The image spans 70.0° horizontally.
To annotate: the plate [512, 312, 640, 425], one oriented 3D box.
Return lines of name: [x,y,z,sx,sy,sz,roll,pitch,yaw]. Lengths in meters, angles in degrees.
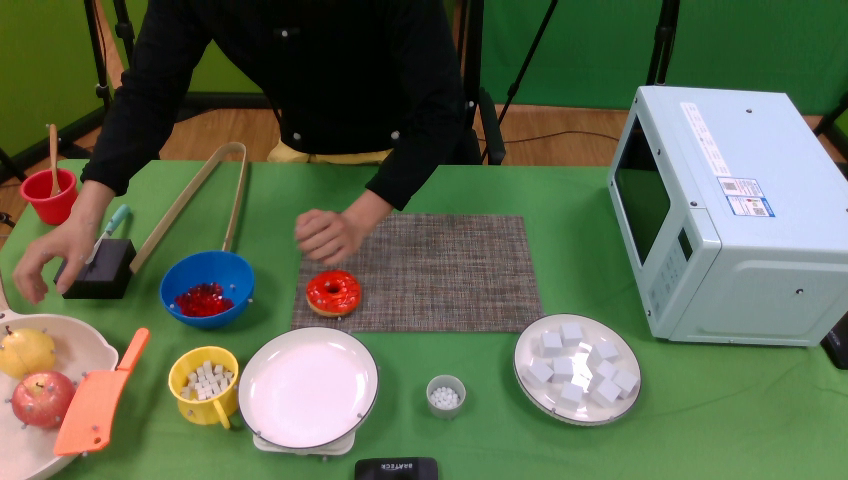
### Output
plate: [0.246,0.213,0.999,0.208,0.039,0.206,2,46,-2]

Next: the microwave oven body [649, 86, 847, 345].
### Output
microwave oven body: [0.567,-0.053,1.118,0.326,0.261,0.439,2,45,-1]

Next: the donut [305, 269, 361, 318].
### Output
donut: [-0.160,0.095,1.075,0.099,0.048,0.098,4,45,-3]

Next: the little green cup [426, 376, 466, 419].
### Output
little green cup: [0.033,0.248,0.950,0.061,0.039,0.061,2,46,-2]

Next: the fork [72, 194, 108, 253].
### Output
fork: [-0.634,-0.035,1.158,0.028,0.019,0.206,-8,31,-8]

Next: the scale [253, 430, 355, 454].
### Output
scale: [-0.175,0.236,0.951,0.149,0.032,0.199,4,45,0]

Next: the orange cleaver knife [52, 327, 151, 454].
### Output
orange cleaver knife: [-0.462,0.212,0.879,0.077,0.012,0.210,6,45,-1]

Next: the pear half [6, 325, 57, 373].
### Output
pear half: [-0.607,0.158,0.935,0.076,0.110,0.056,30,51,19]

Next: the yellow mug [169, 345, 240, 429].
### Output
yellow mug: [-0.322,0.230,0.922,0.100,0.064,0.130,-24,53,-25]

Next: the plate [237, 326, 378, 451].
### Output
plate: [-0.174,0.224,0.917,0.209,0.038,0.208,2,46,-2]

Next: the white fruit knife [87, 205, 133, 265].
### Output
white fruit knife: [-0.584,-0.013,1.129,0.016,0.027,0.206,0,31,-5]

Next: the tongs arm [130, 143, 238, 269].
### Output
tongs arm: [-0.480,-0.083,1.233,0.028,0.028,0.385,9,44,11]

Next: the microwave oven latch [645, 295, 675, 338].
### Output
microwave oven latch: [0.412,0.134,1.061,0.030,0.029,0.078,3,45,0]

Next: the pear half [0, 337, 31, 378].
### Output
pear half: [-0.631,0.183,0.923,0.070,0.088,0.031,28,50,14]

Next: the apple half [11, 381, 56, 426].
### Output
apple half: [-0.570,0.246,0.875,0.081,0.081,0.033,32,49,24]

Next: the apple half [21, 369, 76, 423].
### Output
apple half: [-0.547,0.226,0.898,0.080,0.075,0.053,30,47,27]

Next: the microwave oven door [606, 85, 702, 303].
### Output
microwave oven door: [0.422,-0.094,1.140,0.039,0.245,0.353,2,46,-1]

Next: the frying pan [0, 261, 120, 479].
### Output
frying pan: [-0.647,0.164,0.936,0.307,0.103,0.485,-19,58,-22]

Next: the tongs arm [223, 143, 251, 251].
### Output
tongs arm: [-0.395,-0.074,1.232,0.051,0.026,0.382,1,45,-1]

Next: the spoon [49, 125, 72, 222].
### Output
spoon: [-0.718,-0.131,1.189,0.041,0.021,0.193,-4,91,-7]

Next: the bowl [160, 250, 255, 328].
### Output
bowl: [-0.362,0.098,1.040,0.151,0.077,0.150,2,45,-2]
